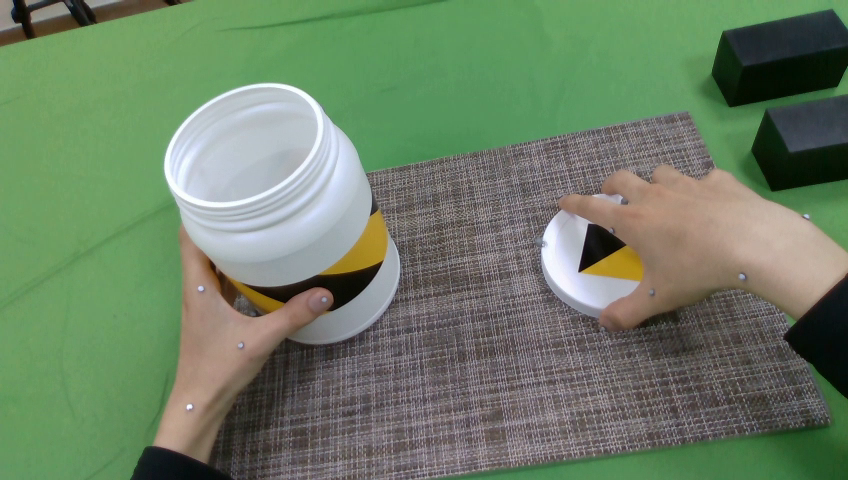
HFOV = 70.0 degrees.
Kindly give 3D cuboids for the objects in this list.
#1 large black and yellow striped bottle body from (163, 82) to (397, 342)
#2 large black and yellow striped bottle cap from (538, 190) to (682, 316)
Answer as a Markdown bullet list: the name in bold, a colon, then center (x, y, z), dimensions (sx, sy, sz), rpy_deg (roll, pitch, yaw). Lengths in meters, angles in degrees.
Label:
- **large black and yellow striped bottle body**: center (-0.102, -0.015, 0.465), dimensions (0.130, 0.186, 0.129), rpy_deg (-5, 56, 8)
- **large black and yellow striped bottle cap**: center (0.152, 0.008, 0.501), dimensions (0.115, 0.019, 0.114), rpy_deg (-5, 57, 8)
